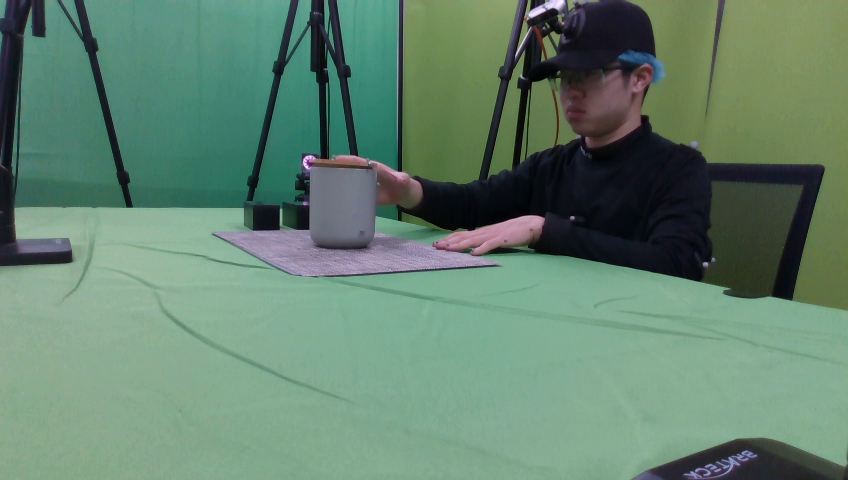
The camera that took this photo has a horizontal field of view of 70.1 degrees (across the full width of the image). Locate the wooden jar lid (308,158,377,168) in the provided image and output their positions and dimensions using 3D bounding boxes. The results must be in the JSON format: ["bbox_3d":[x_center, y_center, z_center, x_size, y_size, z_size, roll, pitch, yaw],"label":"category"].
[{"bbox_3d":[-0.128,-0.117,0.956,0.108,0.020,0.108,5,6,0],"label":"wooden jar lid"}]

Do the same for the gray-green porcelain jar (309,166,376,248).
[{"bbox_3d":[-0.130,-0.054,0.966,0.106,0.126,0.106,2,7,0],"label":"gray-green porcelain jar"}]
